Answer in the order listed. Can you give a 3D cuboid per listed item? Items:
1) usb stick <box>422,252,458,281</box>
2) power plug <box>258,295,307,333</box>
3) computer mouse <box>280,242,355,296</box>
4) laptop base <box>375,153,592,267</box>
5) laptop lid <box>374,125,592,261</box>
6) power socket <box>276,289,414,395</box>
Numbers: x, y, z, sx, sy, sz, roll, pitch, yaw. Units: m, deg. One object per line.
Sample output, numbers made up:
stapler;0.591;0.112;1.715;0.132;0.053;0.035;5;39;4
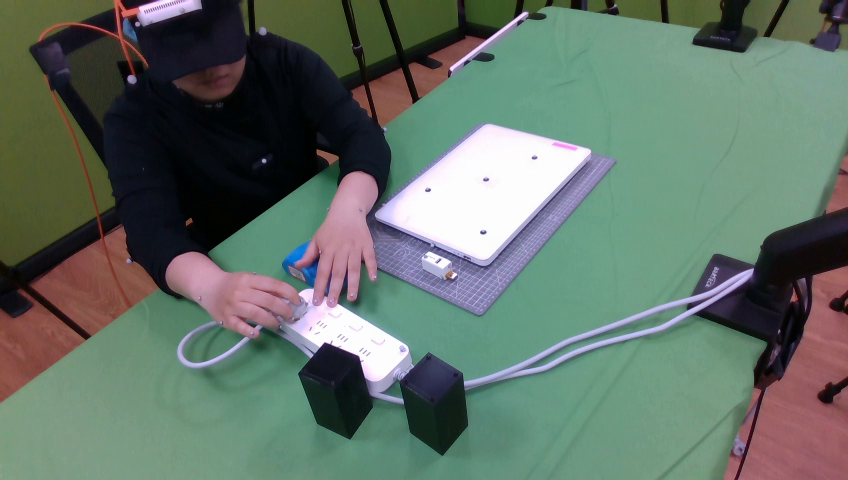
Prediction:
usb stick;0.025;0.042;0.908;0.058;0.027;0.021;27;50;31
power plug;-0.193;0.104;0.828;0.072;0.053;0.035;-40;50;-12
computer mouse;-0.165;0.041;0.934;0.116;0.041;0.063;27;48;29
laptop base;0.112;-0.091;1.063;0.233;0.023;0.355;21;47;34
laptop lid;0.109;-0.101;1.057;0.239;0.013;0.358;23;48;34
power socket;-0.114;0.133;0.820;0.225;0.033;0.072;26;49;33
